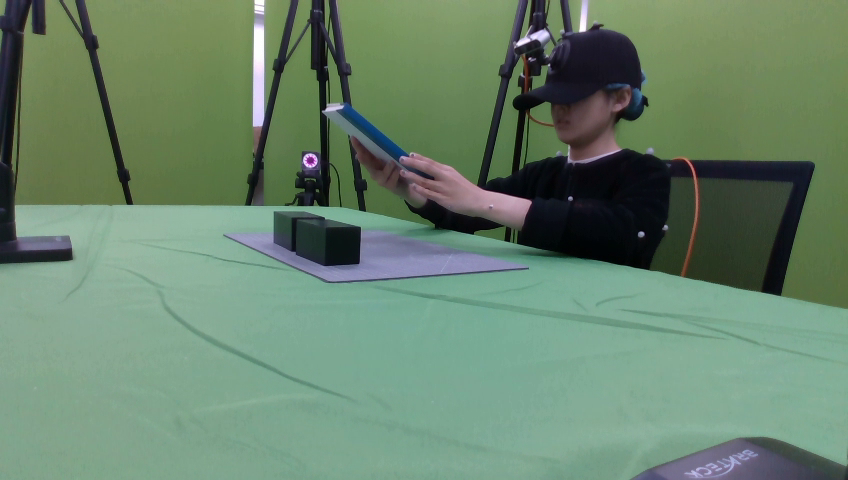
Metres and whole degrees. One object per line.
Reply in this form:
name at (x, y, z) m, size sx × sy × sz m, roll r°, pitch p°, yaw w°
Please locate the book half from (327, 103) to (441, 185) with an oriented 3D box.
book half at (-0.070, -0.165, 1.037) m, size 0.211 × 0.007 × 0.142 m, roll 37°, pitch -2°, yaw -24°
